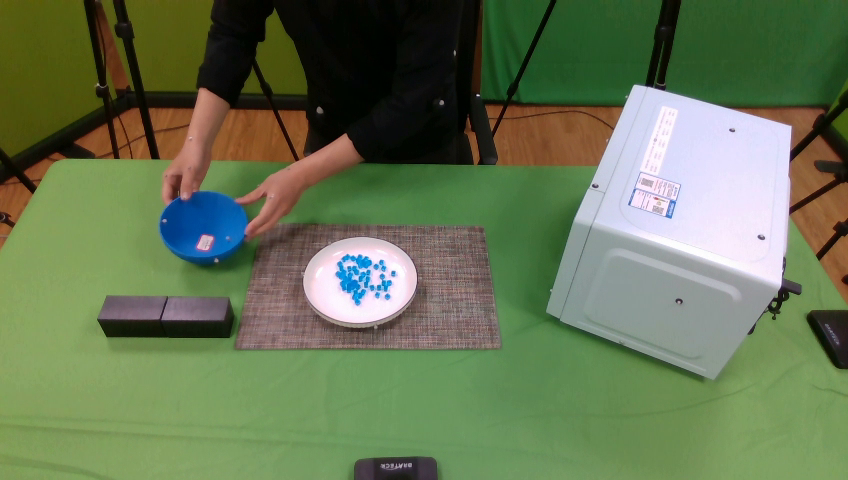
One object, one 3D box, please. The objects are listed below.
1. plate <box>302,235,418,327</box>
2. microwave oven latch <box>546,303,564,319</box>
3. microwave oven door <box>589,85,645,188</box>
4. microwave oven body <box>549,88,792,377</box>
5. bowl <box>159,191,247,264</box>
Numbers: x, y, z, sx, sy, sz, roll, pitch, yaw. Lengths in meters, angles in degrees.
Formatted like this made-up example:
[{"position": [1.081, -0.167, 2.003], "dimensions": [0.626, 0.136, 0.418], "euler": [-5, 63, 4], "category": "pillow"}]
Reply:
[{"position": [-0.114, 0.077, 1.098], "dimensions": [0.208, 0.039, 0.206], "euler": [2, 46, -2], "category": "plate"}, {"position": [0.242, 0.102, 1.081], "dimensions": [0.030, 0.029, 0.079], "euler": [21, 48, 17], "category": "microwave oven latch"}, {"position": [0.342, -0.107, 1.148], "dimensions": [0.039, 0.245, 0.354], "euler": [20, 48, 15], "category": "microwave oven door"}, {"position": [0.456, -0.028, 1.088], "dimensions": [0.325, 0.261, 0.440], "euler": [20, 47, 16], "category": "microwave oven body"}, {"position": [-0.405, -0.009, 1.123], "dimensions": [0.152, 0.077, 0.150], "euler": [8, 53, -10], "category": "bowl"}]
